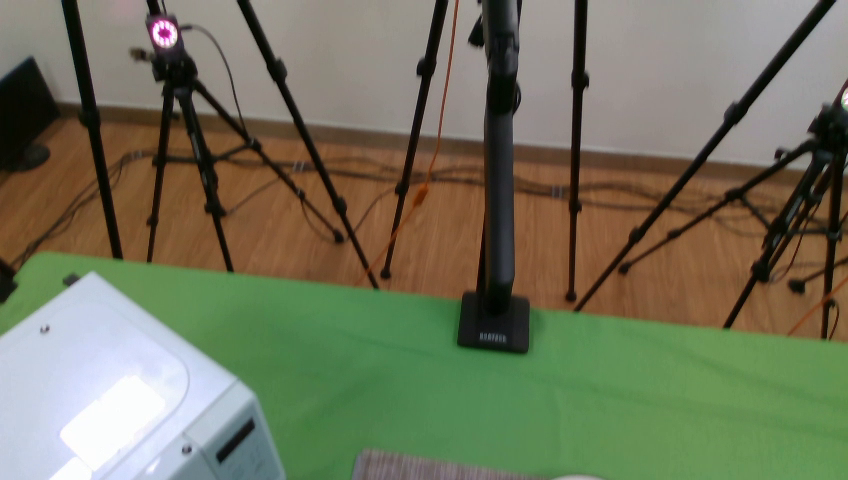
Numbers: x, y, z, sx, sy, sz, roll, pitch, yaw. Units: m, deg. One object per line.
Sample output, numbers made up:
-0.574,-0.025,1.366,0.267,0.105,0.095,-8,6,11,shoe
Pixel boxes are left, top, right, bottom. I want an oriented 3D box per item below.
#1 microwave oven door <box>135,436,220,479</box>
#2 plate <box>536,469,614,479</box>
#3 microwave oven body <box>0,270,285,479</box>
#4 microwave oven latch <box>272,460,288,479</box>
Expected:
-0.346,0.390,0.621,0.039,0.246,0.355,27,53,23,microwave oven door
0.206,0.403,0.781,0.208,0.039,0.205,1,47,-1,plate
-0.442,0.307,0.703,0.324,0.262,0.440,28,53,22,microwave oven body
-0.220,0.330,0.819,0.030,0.030,0.079,30,54,23,microwave oven latch
